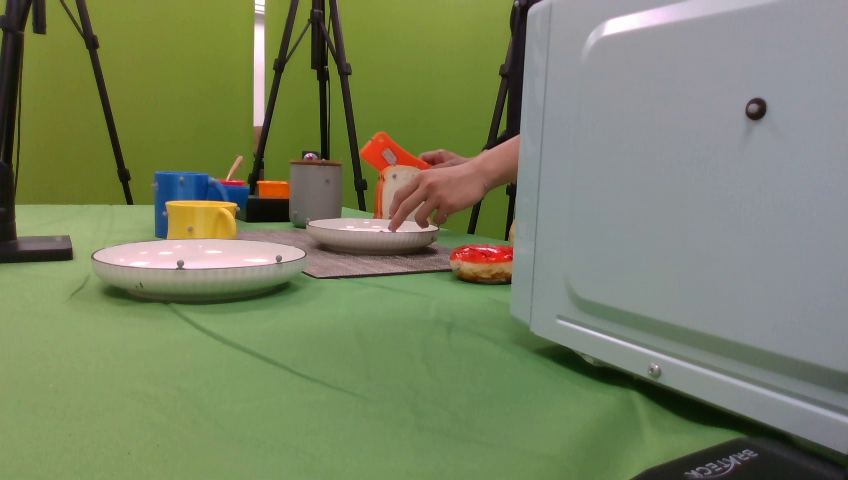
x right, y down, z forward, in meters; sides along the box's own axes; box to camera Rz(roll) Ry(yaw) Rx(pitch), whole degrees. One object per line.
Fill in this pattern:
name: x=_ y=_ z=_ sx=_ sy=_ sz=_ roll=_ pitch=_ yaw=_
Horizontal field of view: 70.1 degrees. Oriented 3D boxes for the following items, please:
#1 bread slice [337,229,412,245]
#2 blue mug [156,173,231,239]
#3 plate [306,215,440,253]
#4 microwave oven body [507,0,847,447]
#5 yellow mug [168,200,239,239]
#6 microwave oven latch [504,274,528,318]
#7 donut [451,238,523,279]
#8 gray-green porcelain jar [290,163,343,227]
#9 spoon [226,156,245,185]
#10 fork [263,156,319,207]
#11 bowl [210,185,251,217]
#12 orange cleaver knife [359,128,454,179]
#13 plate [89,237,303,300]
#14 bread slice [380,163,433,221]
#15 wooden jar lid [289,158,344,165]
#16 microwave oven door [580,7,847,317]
bread slice: x=-0.073 y=-0.006 z=0.938 sx=0.105 sy=0.019 sz=0.131 roll=-2 pitch=5 yaw=-18
blue mug: x=-0.381 y=-0.057 z=1.004 sx=0.117 sy=0.106 sz=0.082 roll=0 pitch=8 yaw=-12
plate: x=-0.079 y=-0.011 z=0.950 sx=0.209 sy=0.038 sz=0.209 roll=2 pitch=8 yaw=0
microwave oven body: x=0.331 y=-0.042 z=0.425 sx=0.444 sy=0.260 sz=0.324 roll=-2 pitch=8 yaw=-31
yellow mug: x=-0.319 y=-0.023 z=0.904 sx=0.130 sy=0.064 sz=0.100 roll=9 pitch=11 yaw=36
microwave oven latch: x=0.100 y=0.041 z=0.471 sx=0.079 sy=0.029 sz=0.030 roll=-1 pitch=8 yaw=-28
donut: x=0.082 y=0.022 z=0.745 sx=0.099 sy=0.048 sz=0.099 roll=1 pitch=5 yaw=0
gray-green porcelain jar: x=-0.217 y=-0.091 z=1.221 sx=0.106 sy=0.126 sz=0.106 roll=2 pitch=7 yaw=0
spoon: x=-0.477 y=-0.145 z=1.492 sx=0.041 sy=0.022 sz=0.193 roll=0 pitch=51 yaw=12
fork: x=-0.331 y=-0.144 z=1.505 sx=0.207 sy=0.018 sz=0.028 roll=-42 pitch=-20 yaw=22
bowl: x=-0.408 y=-0.064 z=1.155 sx=0.151 sy=0.077 sz=0.151 roll=2 pitch=8 yaw=0
orange cleaver knife: x=-0.035 y=-0.160 z=1.257 sx=0.212 sy=0.077 sz=0.012 roll=25 pitch=7 yaw=-26
plate: x=-0.233 y=0.029 z=0.637 sx=0.208 sy=0.039 sz=0.207 roll=2 pitch=7 yaw=0
bread slice: x=-0.035 y=-0.076 z=1.123 sx=0.107 sy=0.134 sz=0.018 roll=-4 pitch=1 yaw=-26
wooden jar lid: x=-0.215 y=-0.153 z=1.212 sx=0.108 sy=0.020 sz=0.108 roll=2 pitch=5 yaw=0
microwave oven door: x=0.295 y=-0.067 z=0.570 sx=0.358 sy=0.243 sz=0.039 roll=-3 pitch=8 yaw=-31
